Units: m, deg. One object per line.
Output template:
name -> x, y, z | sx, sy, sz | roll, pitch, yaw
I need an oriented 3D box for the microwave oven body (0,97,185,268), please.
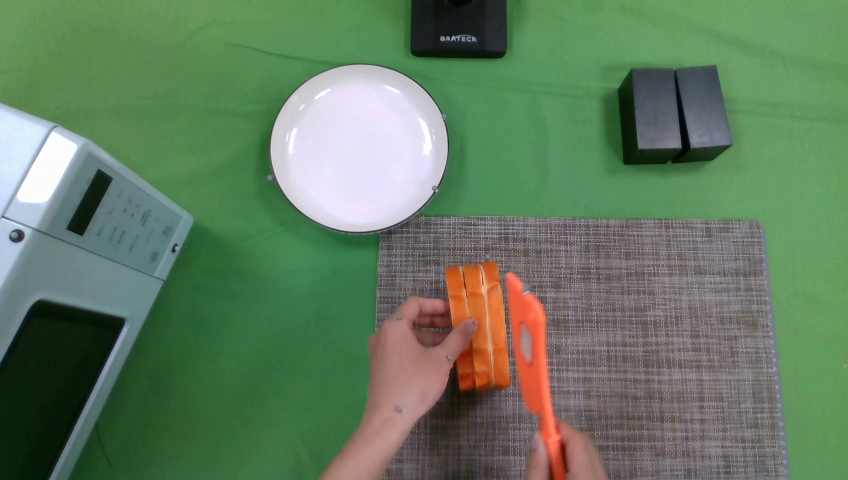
microwave oven body -> -0.486, 0.080, 0.547 | 0.326, 0.261, 0.440 | 21, 79, 3

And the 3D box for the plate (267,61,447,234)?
plate -> -0.076, -0.106, 0.711 | 0.208, 0.039, 0.206 | 0, 78, -1

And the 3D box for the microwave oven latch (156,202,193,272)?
microwave oven latch -> -0.284, -0.006, 0.667 | 0.030, 0.029, 0.079 | 23, 79, 3

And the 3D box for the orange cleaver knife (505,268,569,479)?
orange cleaver knife -> 0.098, 0.128, 0.526 | 0.012, 0.076, 0.212 | -15, 104, -12

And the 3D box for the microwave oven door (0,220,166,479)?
microwave oven door -> -0.365, 0.170, 0.525 | 0.039, 0.245, 0.354 | 21, 78, 4

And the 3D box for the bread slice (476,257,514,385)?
bread slice -> 0.072, 0.086, 0.635 | 0.018, 0.107, 0.133 | -6, 79, -2
